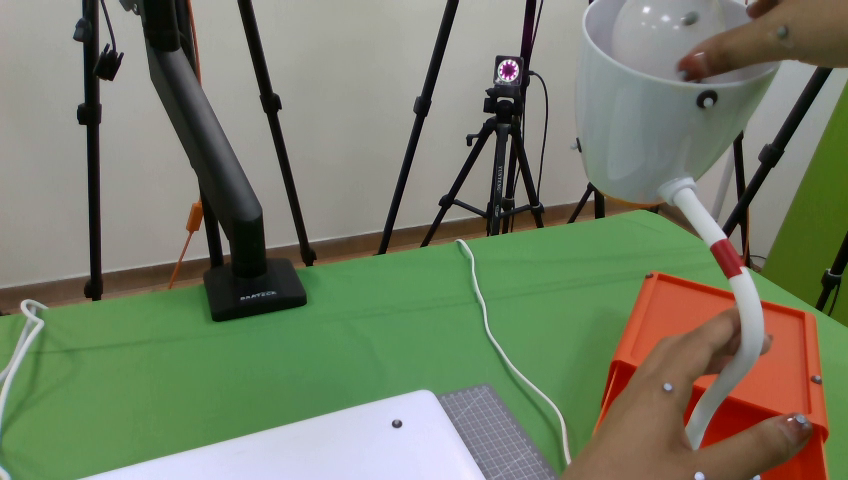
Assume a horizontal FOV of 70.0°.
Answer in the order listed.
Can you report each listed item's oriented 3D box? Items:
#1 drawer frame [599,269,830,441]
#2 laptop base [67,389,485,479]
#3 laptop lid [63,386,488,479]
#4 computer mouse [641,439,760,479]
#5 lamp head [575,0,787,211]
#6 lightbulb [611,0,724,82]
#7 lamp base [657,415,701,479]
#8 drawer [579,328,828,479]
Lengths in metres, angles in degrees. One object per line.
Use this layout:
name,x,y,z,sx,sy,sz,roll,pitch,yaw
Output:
drawer frame,0.324,0.134,0.682,0.200,0.083,0.213,15,30,22
laptop base,-0.110,0.244,0.494,0.355,0.023,0.233,-9,34,-22
laptop lid,-0.109,0.235,0.486,0.358,0.013,0.239,-8,33,-21
computer mouse,0.253,0.220,0.549,0.117,0.041,0.062,15,30,14
lamp head,0.147,-0.078,0.379,0.112,0.124,0.111,-1,43,2
lightbulb,0.140,-0.100,0.360,0.059,0.109,0.059,-5,50,6
lamp base,0.168,0.220,0.396,0.161,0.181,0.177,1,26,-8
drawer,0.274,0.181,0.594,0.193,0.074,0.211,14,29,21
